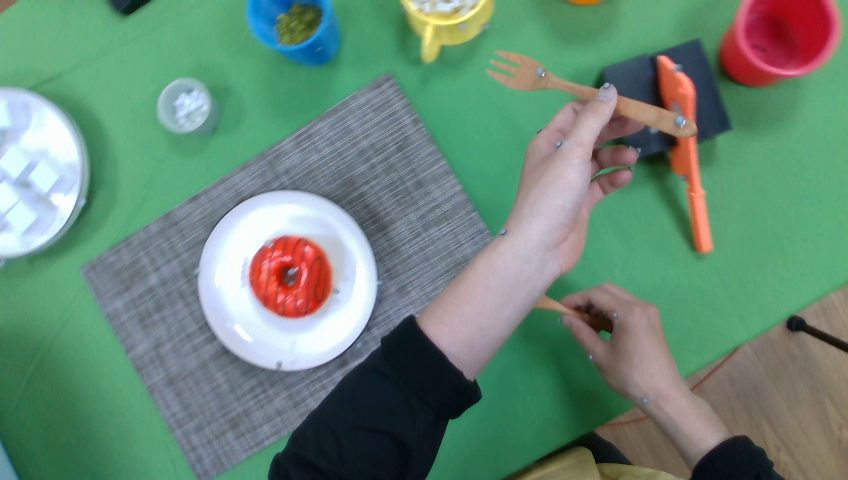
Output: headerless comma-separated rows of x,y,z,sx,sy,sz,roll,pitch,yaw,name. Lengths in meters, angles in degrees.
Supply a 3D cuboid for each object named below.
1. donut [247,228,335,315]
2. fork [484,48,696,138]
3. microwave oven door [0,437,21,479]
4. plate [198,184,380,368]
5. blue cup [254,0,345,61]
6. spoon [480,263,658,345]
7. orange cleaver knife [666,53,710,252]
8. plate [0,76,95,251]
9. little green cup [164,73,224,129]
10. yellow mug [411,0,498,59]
-0.149,0.036,0.682,0.099,0.048,0.099,0,92,7,donut
0.114,-0.113,0.456,0.205,0.019,0.028,39,103,48,fork
-0.495,0.324,0.611,0.039,0.244,0.355,-28,87,5,microwave oven door
-0.151,0.040,0.693,0.209,0.038,0.209,0,90,6,plate
-0.127,-0.240,0.663,0.092,0.100,0.092,0,91,5,blue cup
0.148,0.070,0.619,0.193,0.022,0.041,20,69,4,spoon
0.274,-0.087,0.631,0.012,0.076,0.213,-15,117,8,orange cleaver knife
-0.492,-0.090,0.732,0.207,0.039,0.207,0,90,6,plate
-0.266,-0.160,0.709,0.061,0.038,0.061,0,89,6,little green cup
0.027,-0.263,0.665,0.100,0.064,0.131,18,93,6,yellow mug
